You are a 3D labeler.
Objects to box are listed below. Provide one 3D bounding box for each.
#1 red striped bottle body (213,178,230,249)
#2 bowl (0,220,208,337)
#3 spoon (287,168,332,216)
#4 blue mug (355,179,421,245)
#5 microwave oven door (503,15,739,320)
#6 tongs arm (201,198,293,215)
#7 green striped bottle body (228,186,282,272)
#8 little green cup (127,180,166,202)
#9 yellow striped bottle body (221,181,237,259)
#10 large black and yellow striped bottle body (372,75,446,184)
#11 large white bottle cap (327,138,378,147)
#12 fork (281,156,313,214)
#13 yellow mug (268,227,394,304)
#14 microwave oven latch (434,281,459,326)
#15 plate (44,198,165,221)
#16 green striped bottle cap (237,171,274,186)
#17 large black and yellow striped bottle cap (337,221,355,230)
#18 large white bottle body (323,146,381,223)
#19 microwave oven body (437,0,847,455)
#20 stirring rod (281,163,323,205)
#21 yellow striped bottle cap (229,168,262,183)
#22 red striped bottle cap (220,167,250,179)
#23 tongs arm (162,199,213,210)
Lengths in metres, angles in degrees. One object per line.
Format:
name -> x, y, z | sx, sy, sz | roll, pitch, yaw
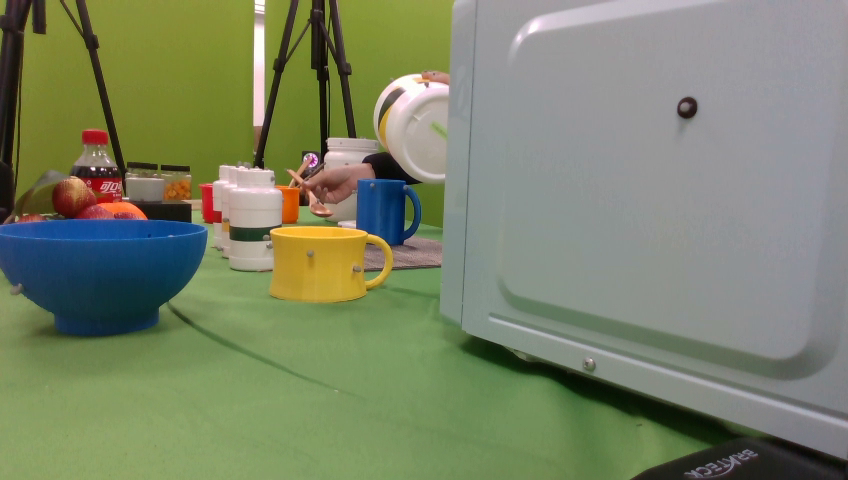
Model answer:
red striped bottle body -> -0.284, -0.047, 0.908 | 0.063, 0.119, 0.063 | 2, 8, 0
bowl -> -0.251, 0.029, 0.479 | 0.151, 0.077, 0.151 | 2, 7, 0
spoon -> -0.221, -0.093, 1.145 | 0.042, 0.021, 0.193 | 2, 33, -35
blue mug -> -0.058, -0.047, 1.005 | 0.116, 0.106, 0.082 | 6, 9, 23
microwave oven door -> 0.218, -0.065, 0.600 | 0.358, 0.243, 0.039 | -4, 10, -41
tongs arm -> -0.423, -0.084, 1.473 | 0.050, 0.026, 0.386 | 2, 6, 21
green striped bottle body -> -0.208, -0.023, 0.745 | 0.063, 0.119, 0.063 | 2, 7, 0
little green cup -> -0.486, -0.087, 1.062 | 0.061, 0.038, 0.061 | 0, 7, 0
yellow striped bottle body -> -0.244, -0.035, 0.823 | 0.063, 0.120, 0.063 | 2, 8, 0
large black and yellow striped bottle body -> -0.003, -0.166, 0.872 | 0.131, 0.130, 0.183 | 0, 21, -17
large white bottle cap -> -0.160, -0.218, 1.357 | 0.115, 0.018, 0.115 | 2, 8, 0
fork -> -0.288, -0.116, 1.320 | 0.028, 0.019, 0.207 | -1, 49, 27
yellow mug -> -0.094, 0.023, 0.629 | 0.131, 0.064, 0.099 | 0, 7, -22
microwave oven latch -> 0.044, 0.045, 0.470 | 0.079, 0.029, 0.030 | -3, 8, -40
plate -> -0.617, -0.056, 1.179 | 0.209, 0.038, 0.209 | 3, 7, 0
green striped bottle cap -> -0.206, -0.075, 0.738 | 0.044, 0.020, 0.044 | 1, 8, 0
large black and yellow striped bottle cap -> -0.107, -0.022, 1.148 | 0.115, 0.019, 0.115 | 1, 8, 0
large white bottle body -> -0.163, -0.134, 1.369 | 0.131, 0.184, 0.130 | 2, 8, 0
microwave oven body -> 0.279, -0.040, 0.464 | 0.444, 0.260, 0.324 | -3, 9, -41
stirring rod -> -0.278, -0.105, 1.293 | 0.176, 0.006, 0.014 | -47, 24, -18
yellow striped bottle cap -> -0.240, -0.087, 0.816 | 0.044, 0.018, 0.044 | -3, 6, 1
red striped bottle cap -> -0.281, -0.100, 0.901 | 0.044, 0.017, 0.044 | -1, 5, 0
tongs arm -> -0.504, -0.091, 1.513 | 0.028, 0.028, 0.389 | -1, 4, 37
